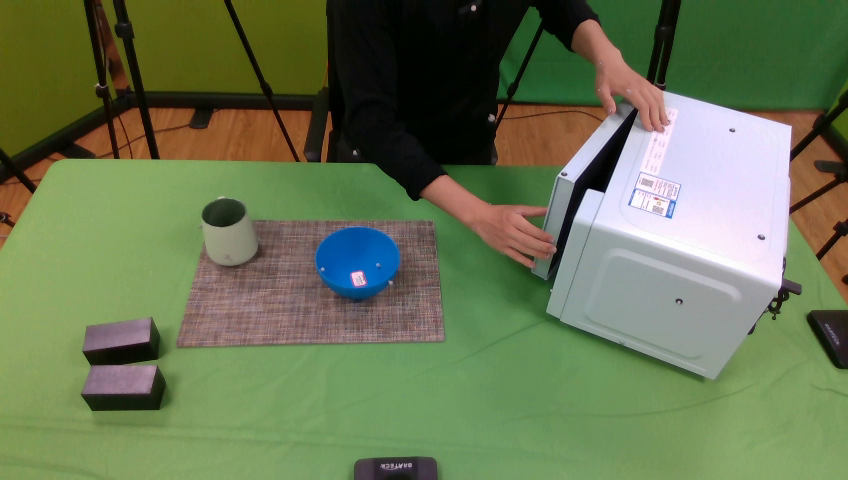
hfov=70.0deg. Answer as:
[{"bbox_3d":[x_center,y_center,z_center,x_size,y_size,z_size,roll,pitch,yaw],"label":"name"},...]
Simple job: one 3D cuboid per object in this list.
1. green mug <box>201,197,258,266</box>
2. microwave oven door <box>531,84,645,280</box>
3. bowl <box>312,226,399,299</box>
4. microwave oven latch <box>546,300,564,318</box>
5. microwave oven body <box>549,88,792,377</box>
[{"bbox_3d":[-0.366,-0.025,1.130,0.092,0.105,0.124,-13,48,-16],"label":"green mug"},{"bbox_3d":[0.319,-0.117,1.157,0.039,0.245,0.355,28,50,21],"label":"microwave oven door"},{"bbox_3d":[-0.120,0.054,1.091,0.151,0.077,0.150,2,46,-2],"label":"bowl"},{"bbox_3d":[0.242,0.102,1.081,0.030,0.029,0.079,21,48,17],"label":"microwave oven latch"},{"bbox_3d":[0.456,-0.028,1.088,0.325,0.261,0.440,20,47,16],"label":"microwave oven body"}]
